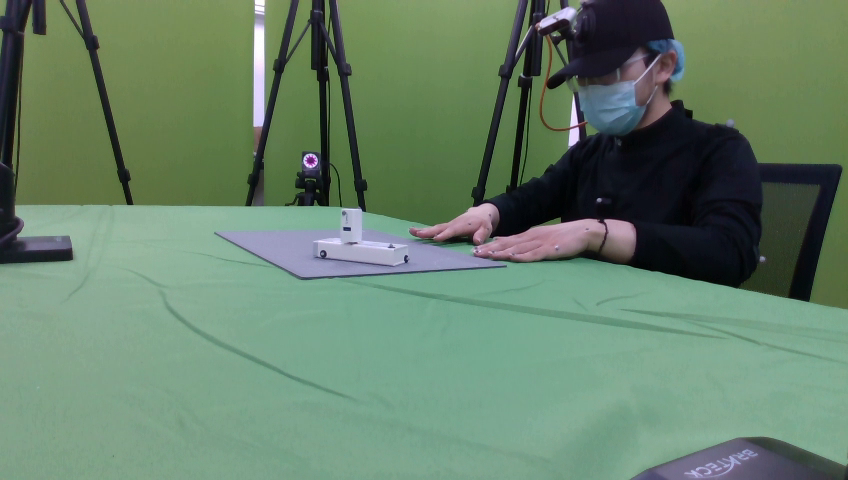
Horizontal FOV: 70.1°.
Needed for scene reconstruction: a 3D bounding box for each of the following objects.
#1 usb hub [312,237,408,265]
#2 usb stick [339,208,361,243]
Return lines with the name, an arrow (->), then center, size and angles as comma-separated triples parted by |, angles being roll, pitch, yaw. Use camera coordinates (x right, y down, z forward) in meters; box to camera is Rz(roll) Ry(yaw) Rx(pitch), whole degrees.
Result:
usb hub -> -0.088, 0.014, 0.829 | 0.125, 0.025, 0.050 | 5, 8, 22
usb stick -> -0.100, -0.013, 0.815 | 0.021, 0.059, 0.027 | 5, 10, 20
